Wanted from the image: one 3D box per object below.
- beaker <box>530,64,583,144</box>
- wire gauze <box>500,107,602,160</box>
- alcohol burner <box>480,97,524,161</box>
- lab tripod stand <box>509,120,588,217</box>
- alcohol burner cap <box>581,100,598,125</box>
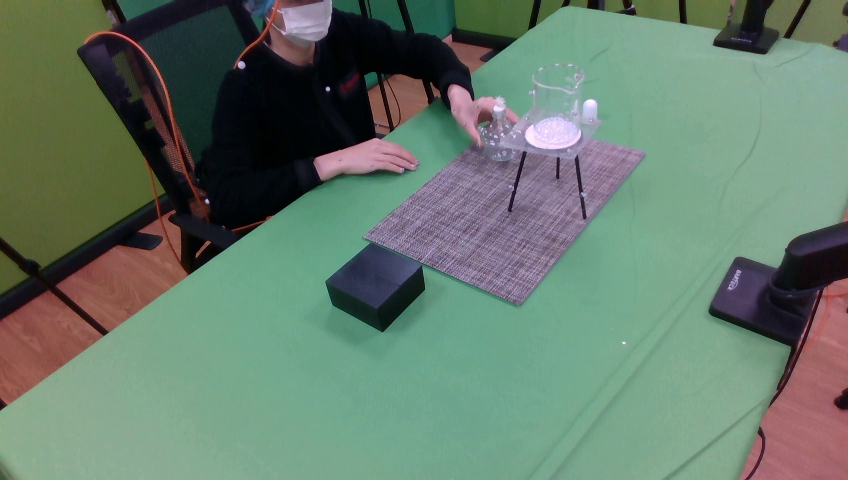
[{"bbox_3d":[0.201,-0.201,0.909,0.074,0.101,0.083,-19,43,-10],"label":"beaker"},{"bbox_3d":[0.199,-0.166,0.945,0.120,0.011,0.125,17,50,28],"label":"wire gauze"},{"bbox_3d":[0.138,-0.203,1.086,0.078,0.120,0.077,-7,45,8],"label":"alcohol burner"},{"bbox_3d":[0.207,-0.114,0.983,0.148,0.132,0.147,-5,42,5],"label":"lab tripod stand"},{"bbox_3d":[0.331,-0.258,1.210,0.034,0.048,0.033,-5,41,5],"label":"alcohol burner cap"}]
